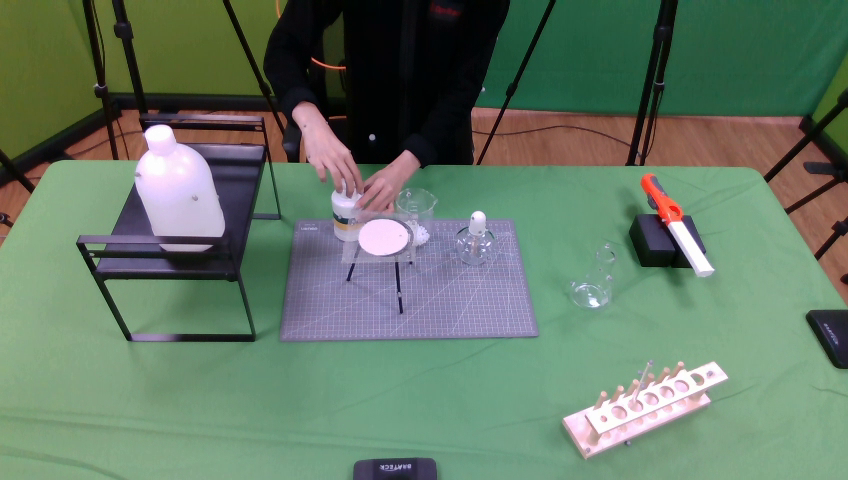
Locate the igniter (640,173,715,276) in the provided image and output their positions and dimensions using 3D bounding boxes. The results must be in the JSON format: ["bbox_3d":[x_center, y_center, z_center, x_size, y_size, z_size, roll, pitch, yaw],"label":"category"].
[{"bbox_3d":[0.495,-0.039,1.204,0.057,0.025,0.274,-2,47,-12],"label":"igniter"}]

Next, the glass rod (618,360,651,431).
[{"bbox_3d":[0.298,0.227,0.865,0.008,0.201,0.008,-2,48,2],"label":"glass rod"}]

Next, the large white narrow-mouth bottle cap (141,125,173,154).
[{"bbox_3d":[-0.356,-0.134,0.810,0.038,0.024,0.037,2,48,-1],"label":"large white narrow-mouth bottle cap"}]

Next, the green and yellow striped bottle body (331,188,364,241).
[{"bbox_3d":[-0.147,-0.059,1.171,0.063,0.120,0.063,2,46,-2],"label":"green and yellow striped bottle body"}]

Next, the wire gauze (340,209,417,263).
[{"bbox_3d":[-0.074,-0.007,1.023,0.121,0.011,0.124,3,46,0],"label":"wire gauze"}]

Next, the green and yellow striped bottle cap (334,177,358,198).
[{"bbox_3d":[-0.145,-0.099,1.131,0.045,0.020,0.045,4,38,-3],"label":"green and yellow striped bottle cap"}]

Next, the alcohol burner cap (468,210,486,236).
[{"bbox_3d":[0.100,-0.034,1.119,0.034,0.048,0.033,0,53,0],"label":"alcohol burner cap"}]

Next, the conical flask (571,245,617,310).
[{"bbox_3d":[0.313,0.064,1.089,0.075,0.122,0.075,2,46,-2],"label":"conical flask"}]

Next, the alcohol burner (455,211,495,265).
[{"bbox_3d":[0.097,-0.010,1.147,0.078,0.120,0.077,1,47,0],"label":"alcohol burner"}]

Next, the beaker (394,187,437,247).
[{"bbox_3d":[-0.018,-0.042,1.179,0.084,0.101,0.073,-9,48,-13],"label":"beaker"}]

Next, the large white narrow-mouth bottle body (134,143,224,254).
[{"bbox_3d":[-0.358,-0.075,0.875,0.102,0.195,0.101,1,48,-1],"label":"large white narrow-mouth bottle body"}]

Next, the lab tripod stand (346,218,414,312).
[{"bbox_3d":[-0.070,0.037,1.075,0.148,0.132,0.147,1,47,-1],"label":"lab tripod stand"}]

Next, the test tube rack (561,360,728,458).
[{"bbox_3d":[0.341,0.247,0.940,0.243,0.085,0.066,-15,49,-18],"label":"test tube rack"}]
